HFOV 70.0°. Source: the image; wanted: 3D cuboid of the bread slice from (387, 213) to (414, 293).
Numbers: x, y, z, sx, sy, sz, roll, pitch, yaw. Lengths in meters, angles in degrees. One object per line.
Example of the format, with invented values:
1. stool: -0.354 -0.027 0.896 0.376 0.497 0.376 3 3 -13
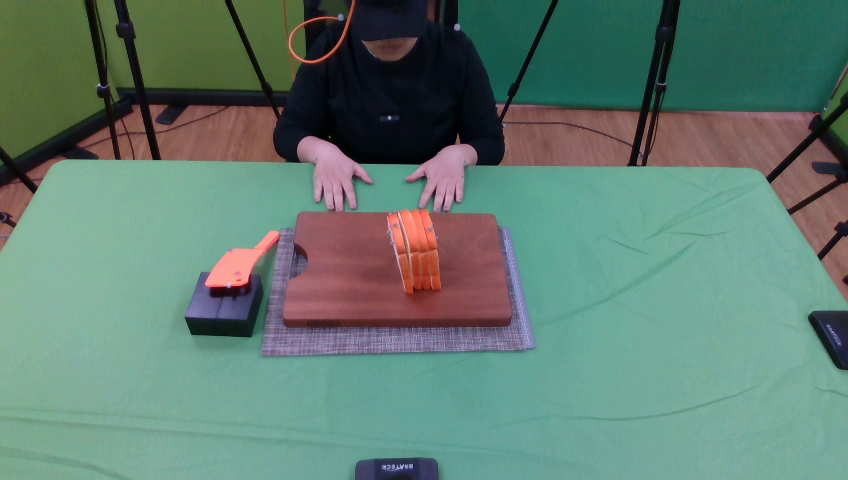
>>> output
1. bread slice: -0.043 0.016 1.067 0.019 0.132 0.104 -15 46 -4

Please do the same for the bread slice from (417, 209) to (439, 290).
1. bread slice: 0.007 0.012 1.073 0.018 0.135 0.106 -11 51 -7

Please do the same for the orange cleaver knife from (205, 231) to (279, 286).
1. orange cleaver knife: -0.328 0.031 1.109 0.077 0.012 0.210 5 27 7
